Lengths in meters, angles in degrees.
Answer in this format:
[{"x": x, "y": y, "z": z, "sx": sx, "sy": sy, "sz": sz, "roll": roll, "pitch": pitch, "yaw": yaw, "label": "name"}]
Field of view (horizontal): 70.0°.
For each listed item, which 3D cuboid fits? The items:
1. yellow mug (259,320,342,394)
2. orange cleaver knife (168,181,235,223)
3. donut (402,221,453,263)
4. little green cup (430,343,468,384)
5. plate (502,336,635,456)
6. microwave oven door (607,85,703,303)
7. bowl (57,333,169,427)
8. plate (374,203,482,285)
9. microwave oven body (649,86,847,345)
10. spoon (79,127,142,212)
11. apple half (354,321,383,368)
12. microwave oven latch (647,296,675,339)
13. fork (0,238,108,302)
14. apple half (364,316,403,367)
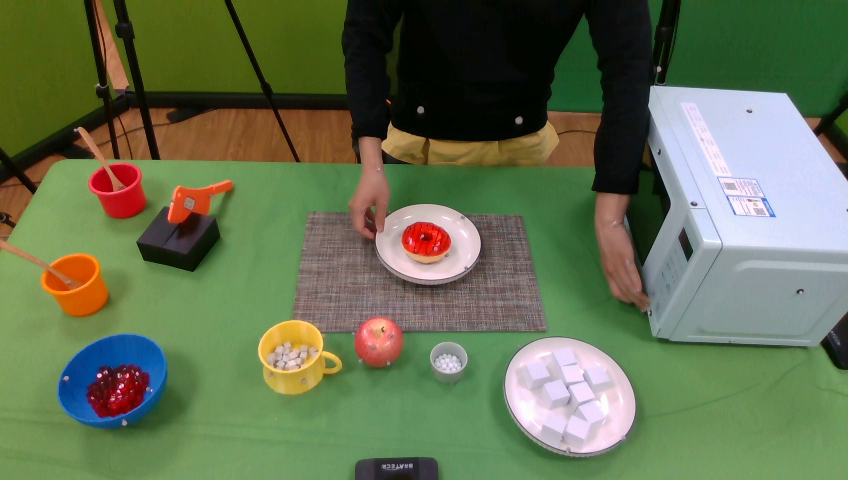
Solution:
[{"x": -0.195, "y": 0.189, "z": 0.971, "sx": 0.131, "sy": 0.064, "sz": 0.099, "roll": 9, "pitch": 46, "yaw": 4, "label": "yellow mug"}, {"x": -0.435, "y": -0.077, "z": 1.196, "sx": 0.012, "sy": 0.077, "sz": 0.211, "roll": 16, "pitch": 15, "yaw": 10, "label": "orange cleaver knife"}, {"x": 0.006, "y": 0.003, "z": 1.163, "sx": 0.099, "sy": 0.048, "sz": 0.098, "roll": 2, "pitch": 43, "yaw": -2, "label": "donut"}, {"x": 0.039, "y": 0.204, "z": 0.993, "sx": 0.061, "sy": 0.039, "sz": 0.061, "roll": 2, "pitch": 46, "yaw": -2, "label": "little green cup"}, {"x": 0.226, "y": 0.248, "z": 0.963, "sx": 0.208, "sy": 0.039, "sz": 0.206, "roll": 2, "pitch": 46, "yaw": -2, "label": "plate"}, {"x": 0.423, "y": -0.094, "z": 1.140, "sx": 0.039, "sy": 0.245, "sz": 0.353, "roll": 2, "pitch": 46, "yaw": -1, "label": "microwave oven door"}, {"x": -0.455, "y": 0.222, "z": 0.912, "sx": 0.151, "sy": 0.077, "sz": 0.150, "roll": 3, "pitch": 46, "yaw": -2, "label": "bowl"}, {"x": 0.008, "y": 0.011, "z": 1.172, "sx": 0.209, "sy": 0.038, "sz": 0.208, "roll": 2, "pitch": 46, "yaw": -2, "label": "plate"}, {"x": 0.568, "y": -0.053, "z": 1.118, "sx": 0.326, "sy": 0.261, "sz": 0.439, "roll": 2, "pitch": 45, "yaw": -1, "label": "microwave oven body"}, {"x": -0.624, "y": -0.140, "z": 1.203, "sx": 0.041, "sy": 0.021, "sz": 0.194, "roll": -33, "pitch": 100, "yaw": -27, "label": "spoon"}, {"x": -0.097, "y": 0.177, "z": 0.984, "sx": 0.033, "sy": 0.081, "sz": 0.081, "roll": -16, "pitch": 49, "yaw": -24, "label": "apple half"}, {"x": 0.413, "y": 0.134, "z": 1.061, "sx": 0.030, "sy": 0.029, "sz": 0.078, "roll": 4, "pitch": 45, "yaw": 1, "label": "microwave oven latch"}, {"x": -0.632, "y": 0.048, "z": 1.017, "sx": 0.208, "sy": 0.018, "sz": 0.028, "roll": 39, "pitch": 40, "yaw": -27, "label": "fork"}, {"x": -0.063, "y": 0.165, "z": 1.000, "sx": 0.053, "sy": 0.075, "sz": 0.080, "roll": -16, "pitch": 45, "yaw": -24, "label": "apple half"}]
